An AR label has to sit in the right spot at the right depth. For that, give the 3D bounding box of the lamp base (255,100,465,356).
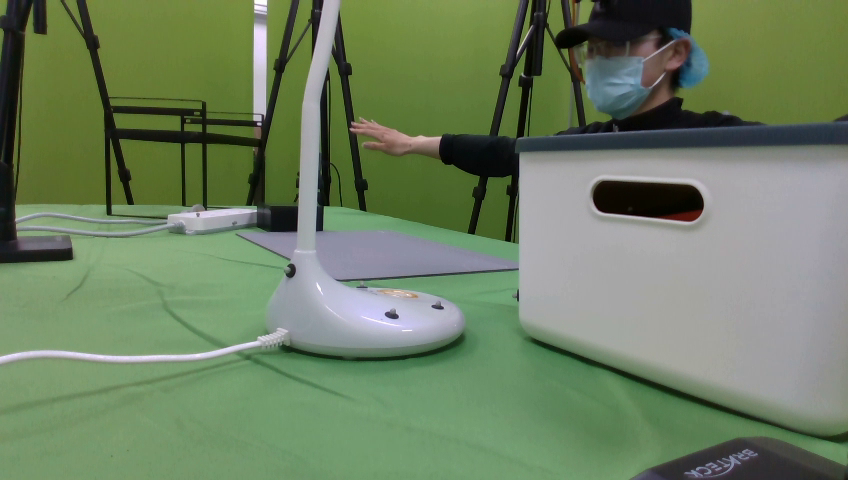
[{"bbox_3d":[-0.051,-0.014,0.466,0.160,0.180,0.180,7,11,33],"label":"lamp base"}]

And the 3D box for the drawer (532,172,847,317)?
[{"bbox_3d":[0.226,0.004,0.467,0.213,0.073,0.193,-13,2,-35],"label":"drawer"}]

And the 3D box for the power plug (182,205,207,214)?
[{"bbox_3d":[-0.456,-0.041,1.195,0.052,0.035,0.072,0,39,24],"label":"power plug"}]

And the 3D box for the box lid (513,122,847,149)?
[{"bbox_3d":[0.282,-0.068,0.478,0.374,0.015,0.262,-3,9,-36],"label":"box lid"}]

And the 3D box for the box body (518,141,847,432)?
[{"bbox_3d":[0.278,0.005,0.486,0.366,0.160,0.253,-3,9,-36],"label":"box body"}]

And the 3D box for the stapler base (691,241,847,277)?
[{"bbox_3d":[0.271,0.014,0.486,0.041,0.024,0.130,-13,3,-19],"label":"stapler base"}]

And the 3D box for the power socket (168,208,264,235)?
[{"bbox_3d":[-0.381,-0.038,1.129,0.072,0.032,0.227,4,8,17],"label":"power socket"}]

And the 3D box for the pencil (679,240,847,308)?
[{"bbox_3d":[0.249,0.019,0.463,0.012,0.012,0.193,1,11,-8],"label":"pencil"}]

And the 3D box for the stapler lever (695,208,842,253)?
[{"bbox_3d":[0.268,-0.009,0.484,0.027,0.040,0.117,-13,2,-19],"label":"stapler lever"}]
